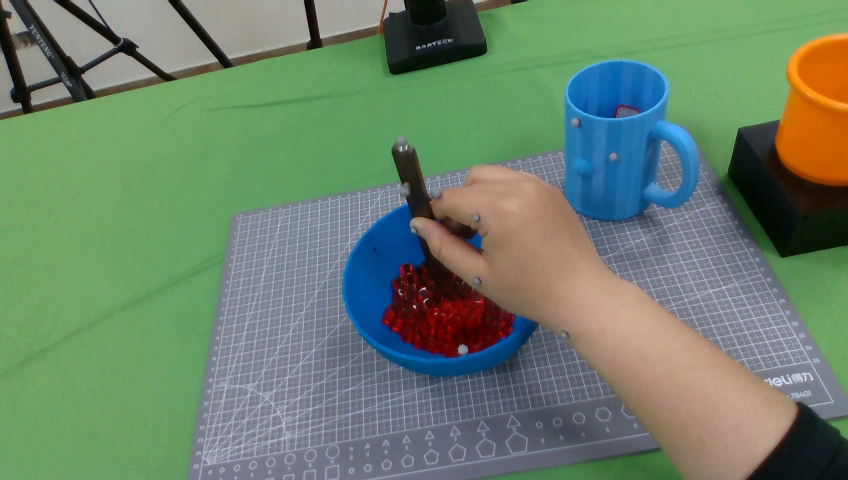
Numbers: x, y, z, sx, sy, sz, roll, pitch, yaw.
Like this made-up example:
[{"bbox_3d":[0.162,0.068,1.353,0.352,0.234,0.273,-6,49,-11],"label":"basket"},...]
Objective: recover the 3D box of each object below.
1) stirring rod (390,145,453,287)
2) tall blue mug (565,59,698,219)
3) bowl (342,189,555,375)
[{"bbox_3d":[0.002,-0.007,0.392,0.014,0.178,0.006,9,64,14],"label":"stirring rod"},{"bbox_3d":[0.169,-0.078,0.495,0.106,0.109,0.077,11,53,22],"label":"tall blue mug"},{"bbox_3d":[0.022,0.042,0.447,0.151,0.077,0.150,-6,49,8],"label":"bowl"}]
